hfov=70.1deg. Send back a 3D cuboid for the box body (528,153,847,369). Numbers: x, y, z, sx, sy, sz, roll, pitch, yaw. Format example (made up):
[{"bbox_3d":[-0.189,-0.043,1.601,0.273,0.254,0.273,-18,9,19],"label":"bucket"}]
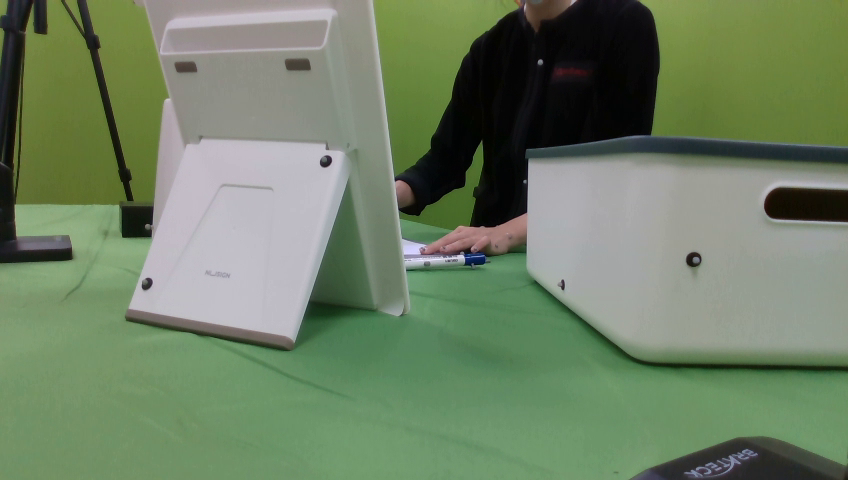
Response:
[{"bbox_3d":[0.258,-0.005,0.591,0.254,0.160,0.363,2,7,-4],"label":"box body"}]

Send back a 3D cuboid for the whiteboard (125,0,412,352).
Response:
[{"bbox_3d":[-0.151,-0.049,0.472,0.216,0.305,0.144,6,27,24],"label":"whiteboard"}]

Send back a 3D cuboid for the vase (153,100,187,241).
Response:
[{"bbox_3d":[-0.278,-0.066,0.736,0.098,0.200,0.098,2,9,0],"label":"vase"}]

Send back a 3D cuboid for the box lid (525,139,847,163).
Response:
[{"bbox_3d":[0.261,-0.078,0.580,0.264,0.015,0.371,2,7,-4],"label":"box lid"}]

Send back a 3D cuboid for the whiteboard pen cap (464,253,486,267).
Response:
[{"bbox_3d":[0.066,0.027,0.818,0.033,0.018,0.018,-5,10,-24],"label":"whiteboard pen cap"}]

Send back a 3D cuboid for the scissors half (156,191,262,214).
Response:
[{"bbox_3d":[-0.371,-0.069,1.051,0.176,0.040,0.013,2,26,-24],"label":"scissors half"}]

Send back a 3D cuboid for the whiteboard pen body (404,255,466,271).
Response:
[{"bbox_3d":[0.013,0.030,0.792,0.141,0.017,0.017,-3,9,-24],"label":"whiteboard pen body"}]

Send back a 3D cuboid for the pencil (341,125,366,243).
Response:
[{"bbox_3d":[-0.112,-0.090,0.980,0.012,0.194,0.012,-10,6,1],"label":"pencil"}]

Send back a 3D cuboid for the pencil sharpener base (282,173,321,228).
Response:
[{"bbox_3d":[-0.247,-0.080,1.212,0.061,0.107,0.076,-2,5,-28],"label":"pencil sharpener base"}]

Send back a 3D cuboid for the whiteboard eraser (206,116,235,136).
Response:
[{"bbox_3d":[-0.450,-0.252,1.335,0.056,0.042,0.112,1,7,-22],"label":"whiteboard eraser"}]

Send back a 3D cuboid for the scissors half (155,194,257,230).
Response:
[{"bbox_3d":[-0.378,-0.051,1.059,0.176,0.040,0.012,20,23,-31],"label":"scissors half"}]

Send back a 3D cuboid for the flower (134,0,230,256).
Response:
[{"bbox_3d":[-0.282,-0.147,0.713,0.038,0.362,0.044,-23,24,-31],"label":"flower"}]

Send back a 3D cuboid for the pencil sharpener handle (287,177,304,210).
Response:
[{"bbox_3d":[-0.269,-0.096,1.257,0.036,0.067,0.030,-8,8,-27],"label":"pencil sharpener handle"}]
